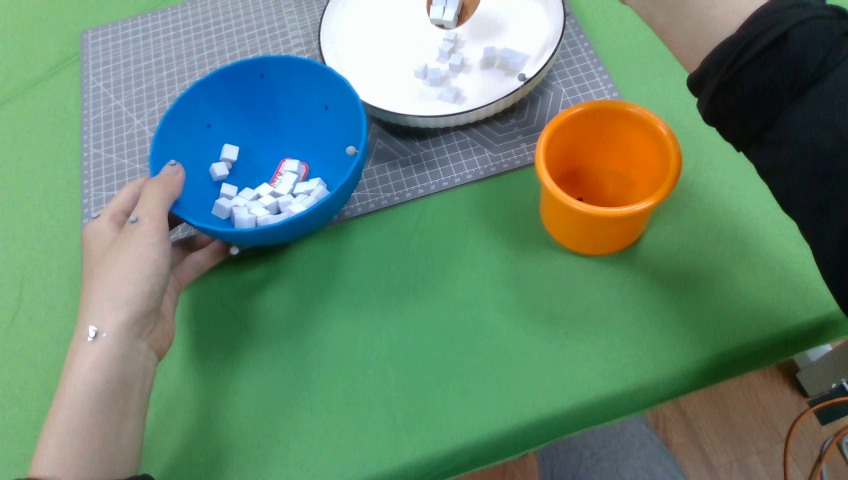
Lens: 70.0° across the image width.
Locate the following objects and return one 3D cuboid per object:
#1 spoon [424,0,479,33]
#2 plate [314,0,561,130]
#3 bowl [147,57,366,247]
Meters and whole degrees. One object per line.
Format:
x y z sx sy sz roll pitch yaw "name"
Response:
0.055 -0.228 0.422 0.041 0.194 0.021 44 44 5 "spoon"
0.011 -0.175 0.524 0.209 0.038 0.207 -3 63 5 "plate"
-0.111 -0.051 0.445 0.151 0.077 0.150 -2 62 5 "bowl"
